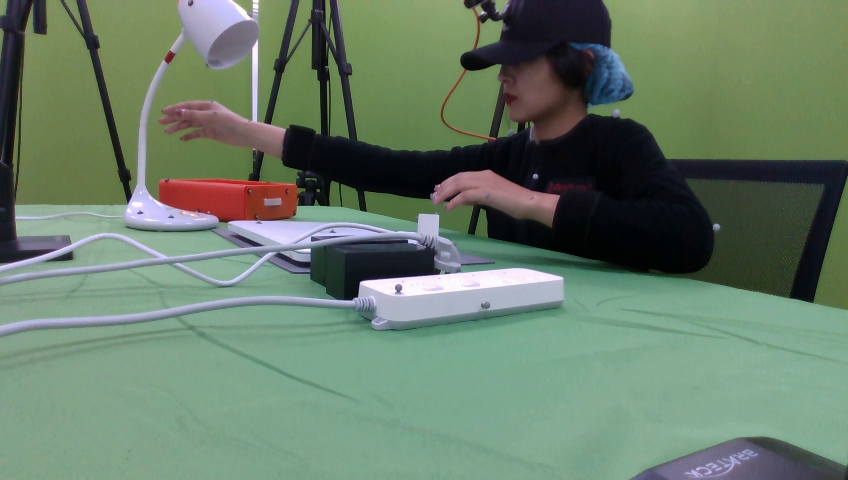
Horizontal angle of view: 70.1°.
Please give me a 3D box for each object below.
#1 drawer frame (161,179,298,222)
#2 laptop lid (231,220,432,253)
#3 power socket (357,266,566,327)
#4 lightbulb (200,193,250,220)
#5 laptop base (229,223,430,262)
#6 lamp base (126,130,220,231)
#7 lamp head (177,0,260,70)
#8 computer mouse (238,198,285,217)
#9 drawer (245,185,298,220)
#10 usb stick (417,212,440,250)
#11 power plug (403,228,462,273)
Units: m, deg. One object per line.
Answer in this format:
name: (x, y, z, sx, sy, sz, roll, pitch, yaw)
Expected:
drawer frame: (-0.420, -0.089, 1.328, 0.213, 0.082, 0.202, 4, 8, 18)
laptop lid: (-0.142, -0.009, 0.942, 0.243, 0.013, 0.355, 1, 7, -31)
power socket: (0.042, 0.049, 0.573, 0.228, 0.032, 0.072, -3, 8, -34)
lightbulb: (-0.433, -0.079, 1.319, 0.108, 0.059, 0.059, -17, 13, -16)
laptop base: (-0.145, 0.002, 0.943, 0.237, 0.023, 0.352, 2, 6, -32)
lamp base: (-0.470, -0.111, 1.105, 0.179, 0.180, 0.160, 1, 7, 6)
lamp head: (-0.365, -0.368, 1.038, 0.123, 0.112, 0.112, 42, 14, 6)
computer mouse: (-0.354, -0.072, 1.326, 0.063, 0.041, 0.117, 3, 3, 12)
drawer: (-0.416, -0.087, 1.329, 0.211, 0.073, 0.195, 4, 8, 18)
usb stick: (0.006, -0.003, 0.721, 0.027, 0.059, 0.021, -1, -4, -2)
power plug: (0.006, 0.016, 0.647, 0.073, 0.052, 0.035, 17, 12, -6)
